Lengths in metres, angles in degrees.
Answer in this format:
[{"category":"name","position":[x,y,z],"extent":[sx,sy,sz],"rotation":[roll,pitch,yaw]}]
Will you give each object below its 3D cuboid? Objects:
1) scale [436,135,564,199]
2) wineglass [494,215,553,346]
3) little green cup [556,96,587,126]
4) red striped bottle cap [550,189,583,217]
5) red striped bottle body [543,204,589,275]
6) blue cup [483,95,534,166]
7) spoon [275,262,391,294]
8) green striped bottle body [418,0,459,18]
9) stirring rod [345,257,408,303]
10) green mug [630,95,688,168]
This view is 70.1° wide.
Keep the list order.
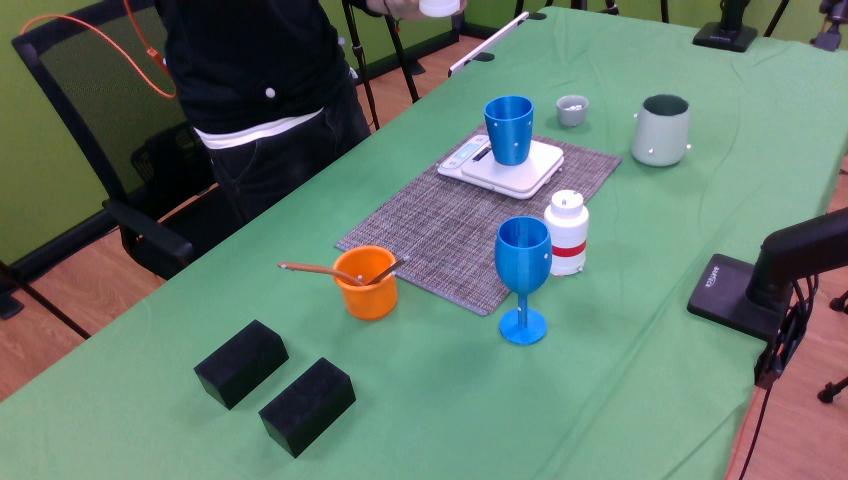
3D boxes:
[{"category":"scale","position":[0.137,-0.142,1.101],"extent":[0.199,0.032,0.149],"rotation":[22,48,30]},{"category":"wineglass","position":[0.127,0.055,0.770],"extent":[0.074,0.173,0.073],"rotation":[-4,40,4]},{"category":"little green cup","position":[0.295,-0.258,1.214],"extent":[0.061,0.039,0.061],"rotation":[-4,42,4]},{"category":"red striped bottle cap","position":[0.199,-0.052,0.843],"extent":[0.044,0.018,0.044],"rotation":[-1,42,2]},{"category":"red striped bottle body","position":[0.206,-0.011,0.877],"extent":[0.063,0.120,0.062],"rotation":[-5,41,4]},{"category":"blue cup","position":[0.150,-0.187,1.051],"extent":[0.092,0.101,0.092],"rotation":[-6,41,6]},{"category":"spoon","position":[-0.120,0.050,0.830],"extent":[0.041,0.195,0.021],"rotation":[31,97,45]},{"category":"green striped bottle body","position":[0.018,-0.392,0.879],"extent":[0.063,0.120,0.063],"rotation":[-3,49,4]},{"category":"stirring rod","position":[-0.067,0.057,0.815],"extent":[0.014,0.175,0.006],"rotation":[-24,82,-38]},{"category":"green mug","position":[0.421,-0.201,1.081],"extent":[0.092,0.105,0.125],"rotation":[6,42,15]}]
